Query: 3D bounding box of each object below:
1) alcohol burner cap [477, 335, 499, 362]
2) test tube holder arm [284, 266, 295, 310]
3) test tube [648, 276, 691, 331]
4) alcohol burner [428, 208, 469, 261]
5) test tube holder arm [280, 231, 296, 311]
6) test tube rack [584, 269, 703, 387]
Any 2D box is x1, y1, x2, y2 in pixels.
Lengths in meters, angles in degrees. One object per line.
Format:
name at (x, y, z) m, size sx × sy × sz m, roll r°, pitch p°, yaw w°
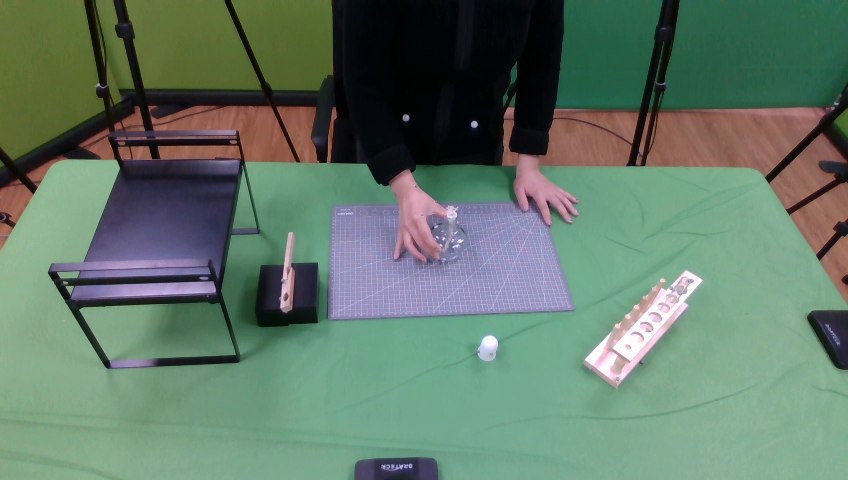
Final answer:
alcohol burner cap at (0.109, 0.179, 1.017) m, size 0.034 × 0.048 × 0.033 m, roll 4°, pitch 50°, yaw -4°
test tube holder arm at (-0.229, 0.081, 1.034) m, size 0.010 × 0.015 × 0.087 m, roll -12°, pitch 46°, yaw 5°
test tube at (0.405, 0.109, 1.007) m, size 0.017 × 0.151 × 0.017 m, roll 3°, pitch 51°, yaw -4°
alcohol burner at (0.048, -0.018, 1.146) m, size 0.078 × 0.119 × 0.077 m, roll 3°, pitch 46°, yaw -3°
test tube holder arm at (-0.238, 0.050, 1.066) m, size 0.013 × 0.015 × 0.177 m, roll -12°, pitch 46°, yaw 6°
test tube rack at (0.381, 0.139, 1.046) m, size 0.066 × 0.085 × 0.242 m, roll 37°, pitch 54°, yaw 28°
